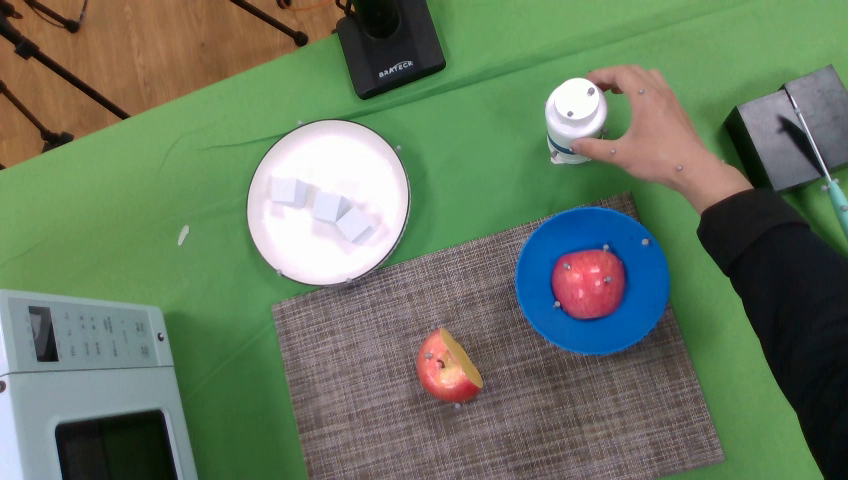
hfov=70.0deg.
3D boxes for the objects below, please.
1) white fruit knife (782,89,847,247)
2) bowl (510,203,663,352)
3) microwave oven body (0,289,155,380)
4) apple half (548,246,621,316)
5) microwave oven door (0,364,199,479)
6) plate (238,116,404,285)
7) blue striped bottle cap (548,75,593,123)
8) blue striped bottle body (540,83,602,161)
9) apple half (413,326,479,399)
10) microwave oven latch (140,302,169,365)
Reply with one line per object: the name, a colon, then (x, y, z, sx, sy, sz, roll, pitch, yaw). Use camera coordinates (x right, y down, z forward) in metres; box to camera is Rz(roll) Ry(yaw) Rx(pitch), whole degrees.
white fruit knife: (0.403, -0.057, 0.607, 0.016, 0.027, 0.207, -27, 94, 25)
bowl: (0.169, 0.042, 0.642, 0.151, 0.077, 0.151, -2, 81, 13)
microwave oven body: (-0.445, 0.314, 0.635, 0.326, 0.261, 0.439, -19, 78, 8)
apple half: (0.170, 0.041, 0.637, 0.081, 0.033, 0.081, -2, 80, 13)
microwave oven door: (-0.297, 0.303, 0.601, 0.039, 0.245, 0.354, -20, 78, 8)
plate: (-0.123, -0.046, 0.742, 0.207, 0.039, 0.207, -2, 81, 11)
blue striped bottle cap: (0.146, -0.140, 0.604, 0.044, 0.021, 0.044, -2, 80, 10)
blue striped bottle body: (0.157, -0.132, 0.653, 0.063, 0.121, 0.063, -2, 80, 12)
apple half: (0.018, 0.140, 0.662, 0.053, 0.075, 0.080, -38, 79, 8)
microwave oven latch: (-0.339, 0.116, 0.743, 0.030, 0.029, 0.079, -19, 79, 8)
